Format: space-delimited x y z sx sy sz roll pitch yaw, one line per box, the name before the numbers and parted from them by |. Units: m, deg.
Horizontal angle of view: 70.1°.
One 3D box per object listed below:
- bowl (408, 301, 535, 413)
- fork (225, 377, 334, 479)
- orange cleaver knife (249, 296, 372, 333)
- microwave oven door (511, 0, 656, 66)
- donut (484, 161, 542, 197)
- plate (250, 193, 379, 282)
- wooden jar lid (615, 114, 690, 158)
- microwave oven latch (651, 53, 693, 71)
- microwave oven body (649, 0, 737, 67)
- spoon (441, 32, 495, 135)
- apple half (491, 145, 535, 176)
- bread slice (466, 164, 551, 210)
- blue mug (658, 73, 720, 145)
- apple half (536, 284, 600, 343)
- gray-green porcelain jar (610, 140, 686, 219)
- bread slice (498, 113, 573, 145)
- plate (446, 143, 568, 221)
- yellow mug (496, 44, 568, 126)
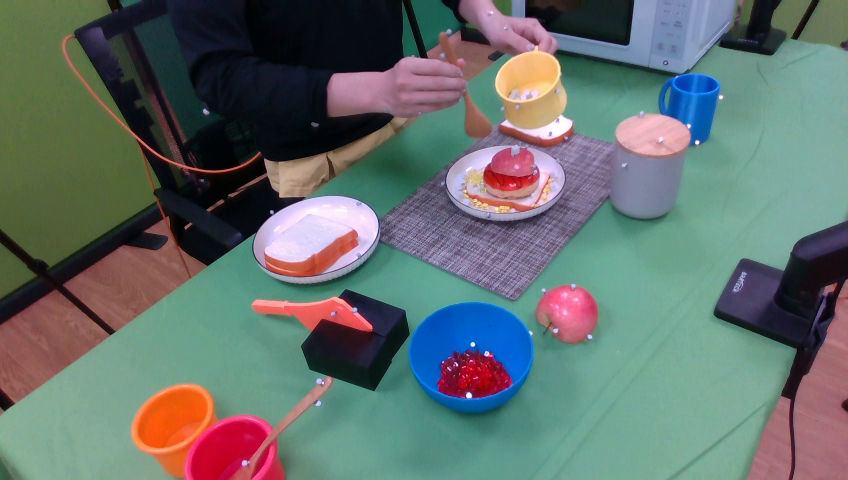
bowl | 0.060 0.156 0.739 0.151 0.077 0.150 -4 40 4
fork | -0.163 0.216 0.646 0.207 0.019 0.028 -49 42 16
orange cleaver knife | -0.159 0.103 0.828 0.210 0.078 0.012 -4 44 38
microwave oven door | 0.350 -0.539 1.348 0.353 0.245 0.039 24 50 31
donut | 0.149 -0.110 1.016 0.099 0.048 0.098 -4 40 4
plate | -0.174 -0.001 0.984 0.209 0.038 0.208 -4 40 3
wooden jar lid | 0.347 -0.155 0.923 0.108 0.021 0.108 -3 44 4
microwave oven latch | 0.532 -0.386 1.301 0.078 0.029 0.030 27 52 34
microwave oven body | 0.475 -0.602 1.411 0.438 0.261 0.327 23 50 32
spoon | 0.057 -0.210 0.837 0.041 0.195 0.021 -12 50 18
apple half | 0.147 -0.138 0.993 0.081 0.033 0.081 0 37 0
bread slice | 0.141 -0.093 1.042 0.133 0.018 0.107 10 43 19
blue mug | 0.483 -0.250 1.127 0.082 0.106 0.115 -26 44 -19
apple half | 0.196 0.091 0.815 0.075 0.053 0.080 -22 42 -20
gray-green porcelain jar | 0.354 -0.106 0.964 0.106 0.127 0.105 -4 41 4
bread slice | 0.231 -0.231 1.205 0.105 0.019 0.130 -37 47 -28
plate | 0.142 -0.096 1.045 0.207 0.039 0.206 -4 40 4
yellow mug | 0.171 -0.249 0.941 0.099 0.064 0.130 2 62 24
